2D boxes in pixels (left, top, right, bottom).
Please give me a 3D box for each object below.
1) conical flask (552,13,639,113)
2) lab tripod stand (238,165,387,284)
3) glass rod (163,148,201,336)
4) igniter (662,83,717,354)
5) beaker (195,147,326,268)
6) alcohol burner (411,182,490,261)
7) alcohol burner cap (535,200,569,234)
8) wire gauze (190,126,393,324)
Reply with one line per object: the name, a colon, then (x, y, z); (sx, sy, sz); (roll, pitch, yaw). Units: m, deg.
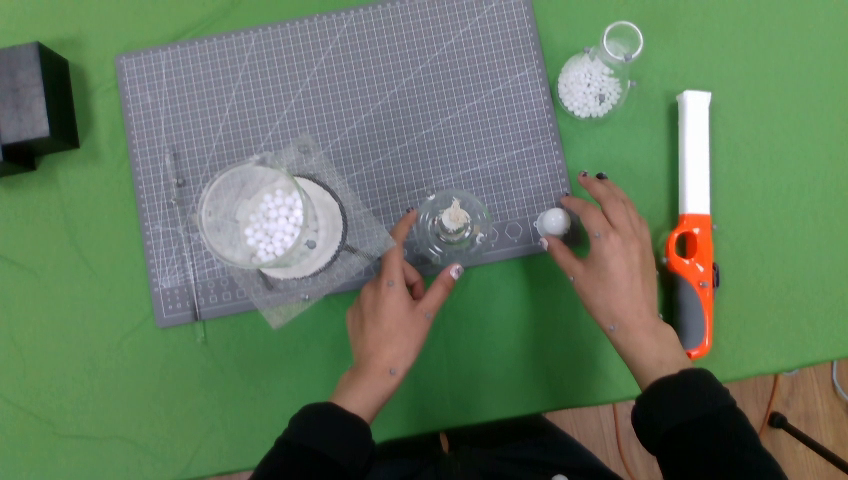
conical flask: (0.170, -0.174, 0.583); (0.075, 0.122, 0.075); (0, 85, 2)
lab tripod stand: (-0.111, -0.008, 0.568); (0.148, 0.131, 0.148); (0, 88, 1)
glass rod: (-0.252, 0.002, 0.632); (0.008, 0.008, 0.199); (-10, 89, 0)
igniter: (0.271, -0.023, 0.618); (0.057, 0.025, 0.276); (2, 86, -9)
beaker: (-0.115, -0.020, 0.455); (0.074, 0.100, 0.084); (10, 86, 1)
alcohol burner: (0.025, -0.020, 0.577); (0.078, 0.119, 0.077); (0, 84, 4)
alcohol burner cap: (0.131, -0.025, 0.610); (0.034, 0.048, 0.034); (0, 86, 4)
wire gauze: (-0.111, -0.013, 0.503); (0.125, 0.011, 0.121); (-37, 89, -3)
